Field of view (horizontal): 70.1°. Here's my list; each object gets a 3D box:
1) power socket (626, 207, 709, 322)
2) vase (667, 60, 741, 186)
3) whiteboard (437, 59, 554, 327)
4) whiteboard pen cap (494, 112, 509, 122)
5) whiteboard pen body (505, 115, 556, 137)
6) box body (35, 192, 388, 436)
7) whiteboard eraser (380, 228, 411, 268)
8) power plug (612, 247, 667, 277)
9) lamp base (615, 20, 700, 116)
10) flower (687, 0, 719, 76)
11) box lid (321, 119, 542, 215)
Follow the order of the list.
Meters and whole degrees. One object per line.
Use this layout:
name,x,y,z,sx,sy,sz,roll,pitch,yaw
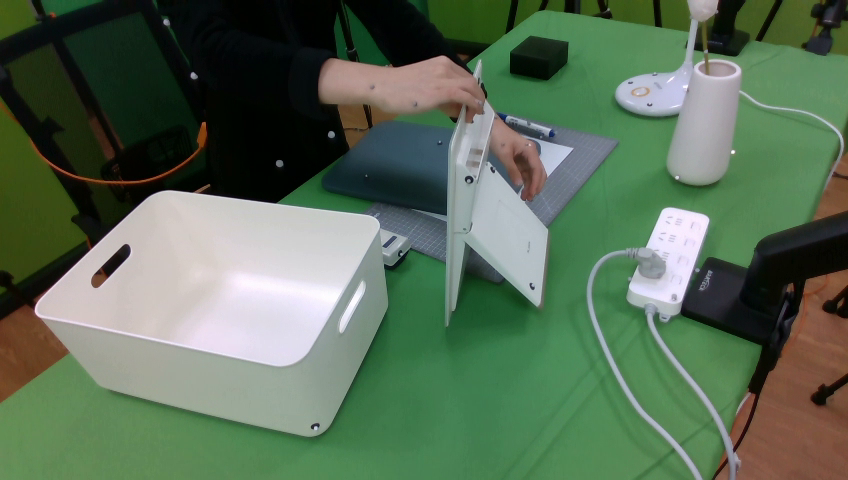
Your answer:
power socket,0.360,0.026,0.886,0.072,0.033,0.227,17,46,26
vase,0.463,-0.189,0.994,0.098,0.201,0.097,-4,40,3
whiteboard,0.113,-0.047,0.806,0.143,0.306,0.217,10,43,9
whiteboard pen cap,0.161,-0.253,1.248,0.033,0.018,0.018,27,51,36
whiteboard pen body,0.203,-0.232,1.213,0.139,0.017,0.017,27,51,36
box body,-0.251,0.087,0.800,0.362,0.161,0.254,7,42,16
whiteboard eraser,-0.081,0.008,0.964,0.112,0.042,0.056,19,49,28
power plug,0.306,0.031,0.852,0.072,0.053,0.035,21,48,37
lamp base,0.484,-0.364,1.211,0.180,0.181,0.159,-15,41,-14
flower,0.436,-0.242,0.934,0.038,0.364,0.043,-24,49,8
box lid,0.017,-0.141,1.145,0.369,0.015,0.263,12,44,22
